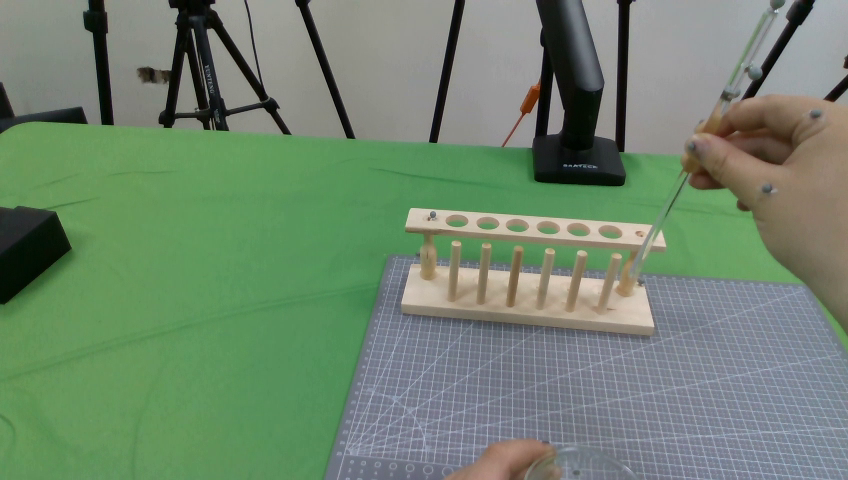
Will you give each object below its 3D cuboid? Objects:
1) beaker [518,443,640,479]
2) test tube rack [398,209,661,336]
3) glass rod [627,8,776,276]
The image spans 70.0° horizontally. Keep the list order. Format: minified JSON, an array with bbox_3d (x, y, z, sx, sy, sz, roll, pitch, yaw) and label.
[{"bbox_3d":[0.081,0.181,0.356,0.084,0.101,0.073,-4,38,-11],"label":"beaker"},{"bbox_3d":[0.098,0.030,0.592,0.242,0.086,0.066,4,37,5],"label":"test tube rack"},{"bbox_3d":[0.155,-0.041,0.357,0.008,0.201,0.008,3,48,-3],"label":"glass rod"}]
